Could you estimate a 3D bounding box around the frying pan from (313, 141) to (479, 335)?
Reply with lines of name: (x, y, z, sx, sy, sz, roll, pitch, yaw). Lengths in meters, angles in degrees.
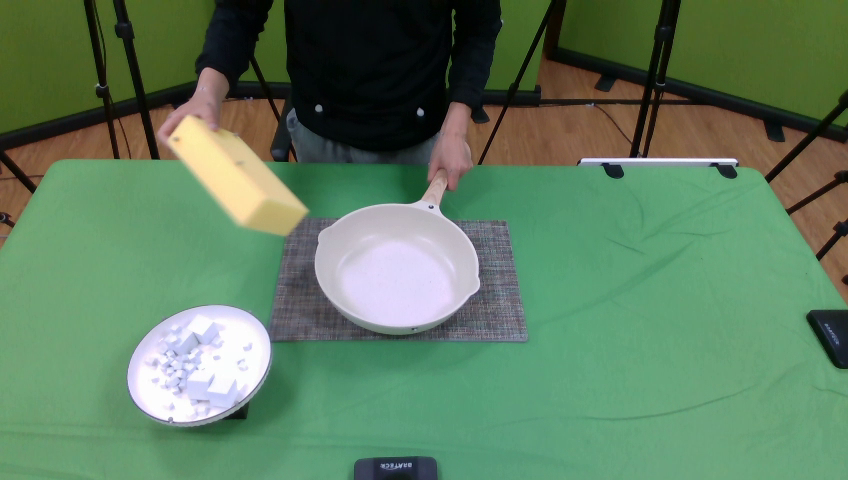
frying pan: (-0.013, -0.024, 1.151, 0.306, 0.103, 0.486, 20, 56, 10)

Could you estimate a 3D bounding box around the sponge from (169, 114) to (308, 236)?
sponge: (-0.298, -0.102, 0.977, 0.206, 0.118, 0.061, 44, 99, 18)

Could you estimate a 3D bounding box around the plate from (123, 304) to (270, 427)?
plate: (-0.336, 0.189, 0.913, 0.208, 0.039, 0.206, 1, 46, -1)
